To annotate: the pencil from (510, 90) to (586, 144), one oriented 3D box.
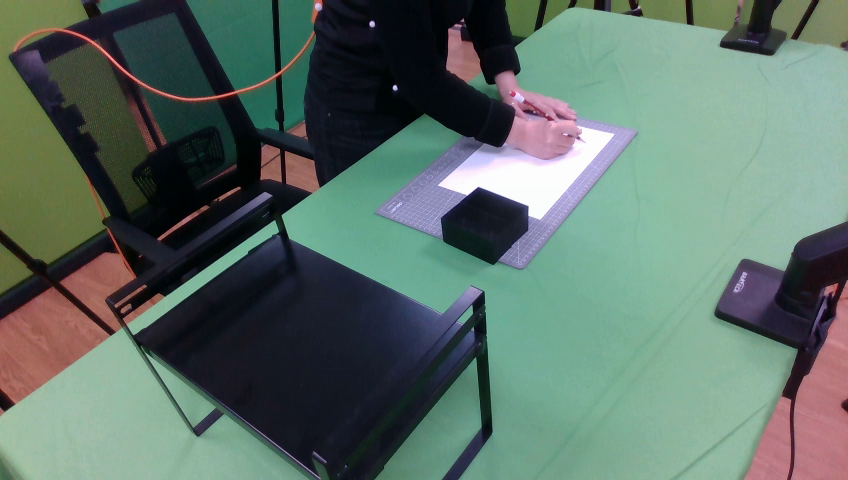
[{"bbox_3d":[0.230,-0.222,1.107,0.195,0.012,0.012,26,31,-27],"label":"pencil"}]
